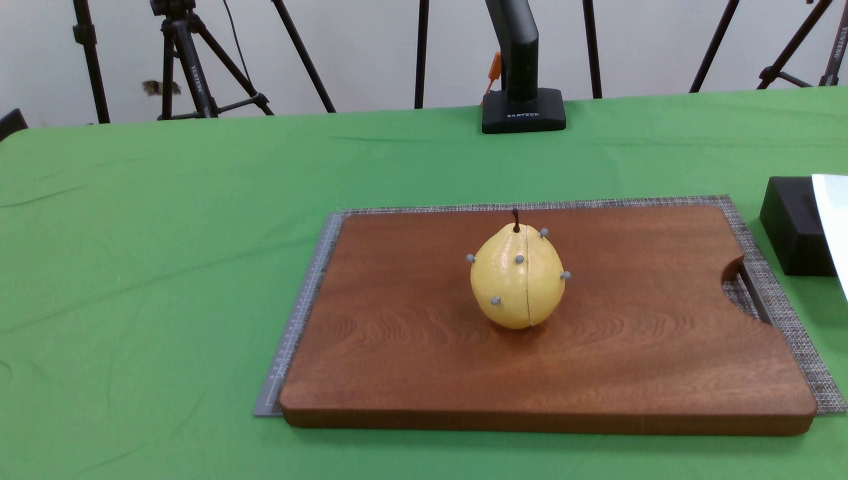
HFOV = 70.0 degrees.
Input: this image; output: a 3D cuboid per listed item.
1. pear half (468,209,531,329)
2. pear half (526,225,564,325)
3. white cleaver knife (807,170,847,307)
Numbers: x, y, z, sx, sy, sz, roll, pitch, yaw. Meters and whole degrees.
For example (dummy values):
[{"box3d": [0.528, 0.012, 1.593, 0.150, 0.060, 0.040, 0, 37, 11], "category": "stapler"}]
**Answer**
[{"box3d": [0.064, 0.020, 0.502, 0.056, 0.111, 0.076, -1, 33, 8], "category": "pear half"}, {"box3d": [0.100, 0.028, 0.502, 0.031, 0.088, 0.070, -2, 29, 7], "category": "pear half"}, {"box3d": [0.379, 0.042, 0.502, 0.065, 0.022, 0.284, -1, 48, 14], "category": "white cleaver knife"}]
